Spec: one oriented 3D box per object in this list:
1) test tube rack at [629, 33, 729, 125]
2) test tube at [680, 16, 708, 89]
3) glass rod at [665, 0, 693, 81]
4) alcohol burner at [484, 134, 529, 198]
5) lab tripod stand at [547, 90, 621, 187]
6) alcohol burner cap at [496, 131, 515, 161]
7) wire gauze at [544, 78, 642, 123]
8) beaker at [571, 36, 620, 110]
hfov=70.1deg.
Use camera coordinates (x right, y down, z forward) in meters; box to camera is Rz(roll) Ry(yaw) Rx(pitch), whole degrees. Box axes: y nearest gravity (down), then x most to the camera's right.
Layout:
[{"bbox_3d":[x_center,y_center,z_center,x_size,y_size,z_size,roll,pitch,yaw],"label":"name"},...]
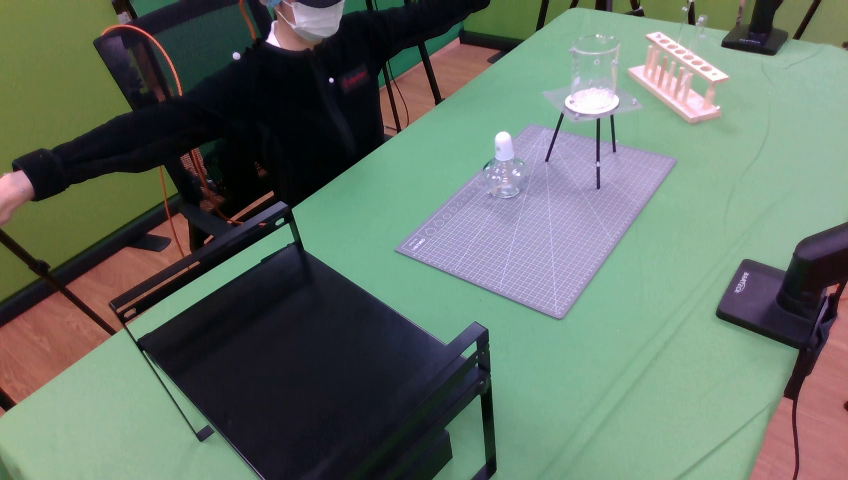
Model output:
[{"bbox_3d":[0.516,-0.337,1.247,0.067,0.085,0.240,-14,41,-7],"label":"test tube rack"},{"bbox_3d":[0.534,-0.370,1.204,0.017,0.151,0.017,1,42,0],"label":"test tube"},{"bbox_3d":[0.525,-0.418,1.238,0.008,0.200,0.008,1,42,-1],"label":"glass rod"},{"bbox_3d":[0.141,-0.133,1.041,0.078,0.119,0.077,-5,43,5],"label":"alcohol burner"},{"bbox_3d":[0.289,-0.184,1.062,0.148,0.132,0.147,-6,41,6],"label":"lab tripod stand"},{"bbox_3d":[0.135,-0.160,1.019,0.034,0.048,0.033,-8,37,6],"label":"alcohol burner cap"},{"bbox_3d":[0.282,-0.234,1.021,0.125,0.011,0.120,-17,38,-4],"label":"wire gauze"},{"bbox_3d":[0.280,-0.272,0.990,0.073,0.101,0.084,17,47,28],"label":"beaker"}]
